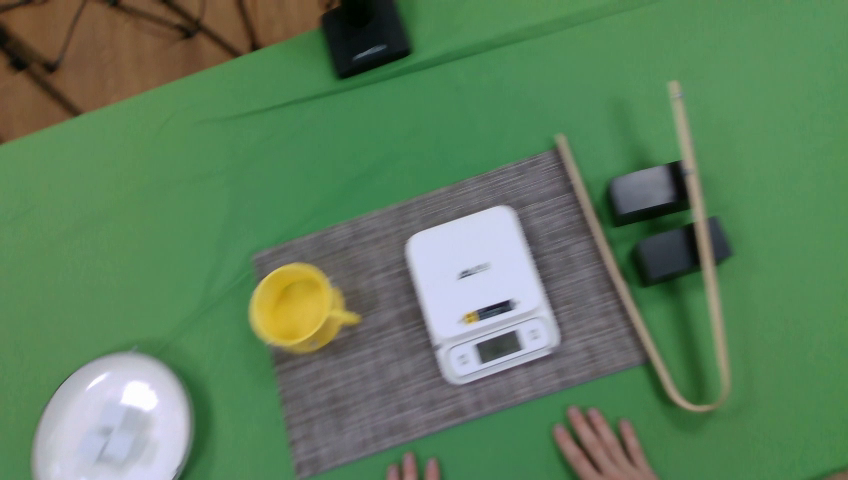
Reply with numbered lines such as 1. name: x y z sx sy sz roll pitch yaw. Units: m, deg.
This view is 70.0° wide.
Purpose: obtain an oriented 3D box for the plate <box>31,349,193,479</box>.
1. plate: -0.389 0.245 0.770 0.207 0.039 0.206 -2 73 6

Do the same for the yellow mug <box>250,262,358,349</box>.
1. yellow mug: -0.146 0.087 0.768 0.130 0.064 0.099 9 74 9

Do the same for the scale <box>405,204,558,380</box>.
1. scale: 0.069 0.062 0.765 0.148 0.032 0.199 -19 72 2

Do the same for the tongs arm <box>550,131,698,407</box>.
1. tongs arm: 0.239 0.025 0.757 0.028 0.028 0.384 -29 69 24

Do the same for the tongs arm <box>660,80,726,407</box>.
1. tongs arm: 0.304 -0.002 0.714 0.050 0.027 0.383 -16 77 31
